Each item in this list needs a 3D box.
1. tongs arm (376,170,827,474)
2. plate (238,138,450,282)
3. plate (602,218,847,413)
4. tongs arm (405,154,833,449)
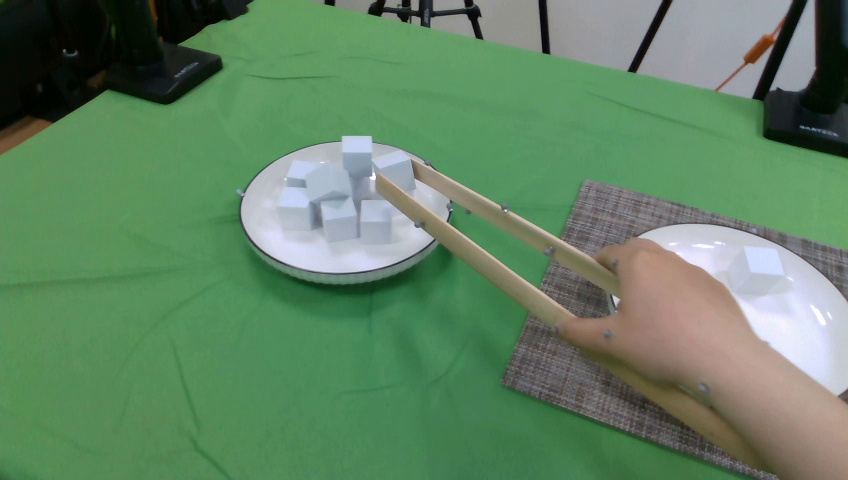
[{"bbox_3d":[0.090,0.039,0.449,0.028,0.028,0.383,-31,51,-31],"label":"tongs arm"},{"bbox_3d":[-0.078,-0.030,0.611,0.209,0.038,0.207,2,43,-1],"label":"plate"},{"bbox_3d":[0.258,0.062,0.528,0.208,0.039,0.205,2,44,-1],"label":"plate"},{"bbox_3d":[0.108,0.027,0.461,0.381,0.027,0.051,32,53,30],"label":"tongs arm"}]
